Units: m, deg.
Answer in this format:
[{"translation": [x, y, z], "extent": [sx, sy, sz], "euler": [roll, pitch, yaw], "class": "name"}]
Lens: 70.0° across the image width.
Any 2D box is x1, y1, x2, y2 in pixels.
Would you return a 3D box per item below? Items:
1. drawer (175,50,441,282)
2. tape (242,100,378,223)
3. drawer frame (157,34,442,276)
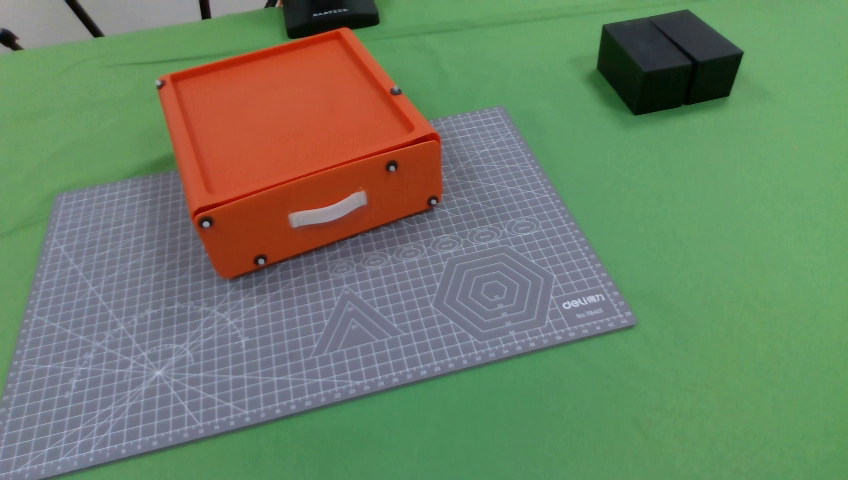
[{"translation": [-0.115, -0.082, 0.548], "extent": [0.195, 0.074, 0.209], "euler": [-21, 47, -14], "class": "drawer"}, {"translation": [-0.102, -0.072, 0.542], "extent": [0.117, 0.053, 0.115], "euler": [-2, 48, 2], "class": "tape"}, {"translation": [-0.118, -0.088, 0.552], "extent": [0.202, 0.083, 0.211], "euler": [-21, 46, -15], "class": "drawer frame"}]
